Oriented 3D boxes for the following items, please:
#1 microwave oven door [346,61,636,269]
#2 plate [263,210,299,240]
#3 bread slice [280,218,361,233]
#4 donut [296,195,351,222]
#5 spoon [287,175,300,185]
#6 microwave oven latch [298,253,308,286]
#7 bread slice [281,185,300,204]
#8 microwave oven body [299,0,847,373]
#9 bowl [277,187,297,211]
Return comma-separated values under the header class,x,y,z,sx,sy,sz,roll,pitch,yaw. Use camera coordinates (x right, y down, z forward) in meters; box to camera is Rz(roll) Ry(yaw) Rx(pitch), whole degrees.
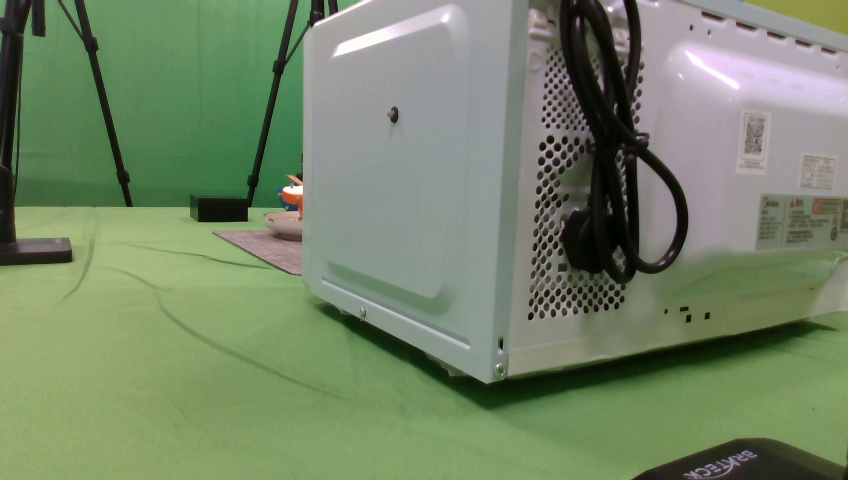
class,x,y,z,sx,sy,sz,roll,pitch,yaw
microwave oven door,0.085,-0.089,0.756,0.357,0.243,0.039,1,8,-8
plate,-0.180,-0.025,1.079,0.208,0.039,0.207,3,7,0
bread slice,-0.187,-0.026,1.075,0.135,0.018,0.106,-1,7,-22
donut,-0.178,-0.057,1.080,0.099,0.048,0.099,2,4,0
spoon,-0.262,-0.110,1.342,0.042,0.021,0.192,-6,32,-34
microwave oven latch,-0.081,0.027,0.582,0.079,0.029,0.030,-1,7,-32
bread slice,-0.185,-0.082,1.071,0.132,0.019,0.104,-2,14,-18
microwave oven body,0.152,-0.055,0.542,0.444,0.260,0.324,-2,7,-33
bowl,-0.241,-0.073,1.303,0.151,0.077,0.151,2,7,0
